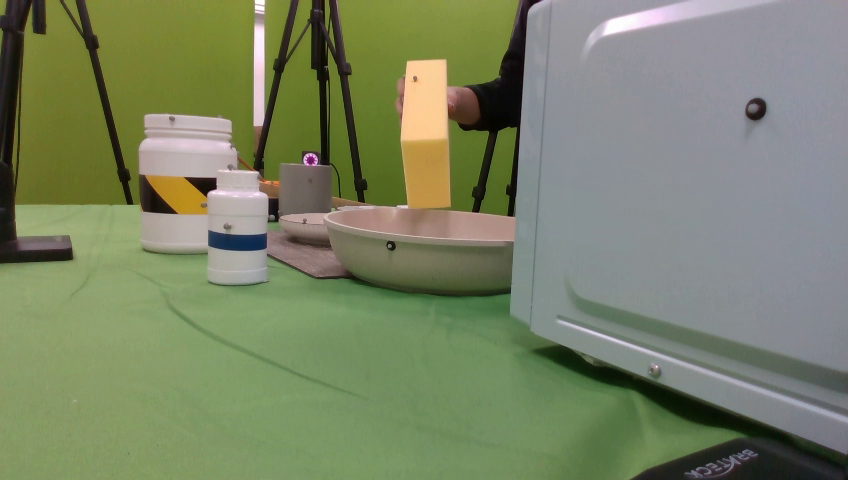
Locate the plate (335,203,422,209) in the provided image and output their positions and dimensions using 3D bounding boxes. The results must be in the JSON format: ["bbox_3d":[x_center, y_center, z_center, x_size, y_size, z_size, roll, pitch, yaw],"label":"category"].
[{"bbox_3d":[-0.089,-0.053,1.309,0.208,0.039,0.207,2,8,0],"label":"plate"}]

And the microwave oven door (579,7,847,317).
[{"bbox_3d":[0.294,-0.067,0.570,0.358,0.243,0.039,-3,9,-31],"label":"microwave oven door"}]

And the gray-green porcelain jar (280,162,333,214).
[{"bbox_3d":[-0.238,-0.092,1.221,0.106,0.126,0.106,2,7,0],"label":"gray-green porcelain jar"}]

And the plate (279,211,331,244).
[{"bbox_3d":[-0.139,-0.022,1.021,0.209,0.038,0.209,3,8,0],"label":"plate"}]

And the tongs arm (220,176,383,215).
[{"bbox_3d":[-0.284,-0.104,1.445,0.389,0.027,0.028,9,-4,-23],"label":"tongs arm"}]

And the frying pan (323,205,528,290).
[{"bbox_3d":[0.110,-0.017,0.800,0.490,0.102,0.305,-12,16,-31],"label":"frying pan"}]

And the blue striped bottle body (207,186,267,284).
[{"bbox_3d":[-0.204,-0.016,0.663,0.063,0.120,0.063,2,7,0],"label":"blue striped bottle body"}]

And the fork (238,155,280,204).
[{"bbox_3d":[-0.396,-0.143,1.486,0.028,0.018,0.208,20,-26,45],"label":"fork"}]

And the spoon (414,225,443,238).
[{"bbox_3d":[0.016,-0.020,1.113,0.041,0.021,0.194,-14,3,12],"label":"spoon"}]

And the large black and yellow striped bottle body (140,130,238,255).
[{"bbox_3d":[-0.336,-0.078,0.871,0.131,0.184,0.130,2,8,0],"label":"large black and yellow striped bottle body"}]

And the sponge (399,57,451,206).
[{"bbox_3d":[0.005,-0.159,0.861,0.061,0.118,0.206,-3,43,4],"label":"sponge"}]

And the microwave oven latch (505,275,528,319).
[{"bbox_3d":[0.100,0.042,0.472,0.079,0.029,0.030,-2,8,-30],"label":"microwave oven latch"}]

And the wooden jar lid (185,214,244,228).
[{"bbox_3d":[-0.404,-0.037,1.169,0.108,0.020,0.108,3,7,0],"label":"wooden jar lid"}]

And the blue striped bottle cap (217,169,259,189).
[{"bbox_3d":[-0.202,-0.067,0.656,0.044,0.020,0.044,0,10,0],"label":"blue striped bottle cap"}]

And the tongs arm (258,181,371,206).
[{"bbox_3d":[-0.241,-0.095,1.373,0.387,0.026,0.050,9,0,-37],"label":"tongs arm"}]

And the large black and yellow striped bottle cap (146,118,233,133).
[{"bbox_3d":[-0.333,-0.163,0.861,0.115,0.019,0.115,1,9,0],"label":"large black and yellow striped bottle cap"}]

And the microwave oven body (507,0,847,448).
[{"bbox_3d":[0.331,-0.042,0.425,0.444,0.260,0.324,-2,8,-31],"label":"microwave oven body"}]
